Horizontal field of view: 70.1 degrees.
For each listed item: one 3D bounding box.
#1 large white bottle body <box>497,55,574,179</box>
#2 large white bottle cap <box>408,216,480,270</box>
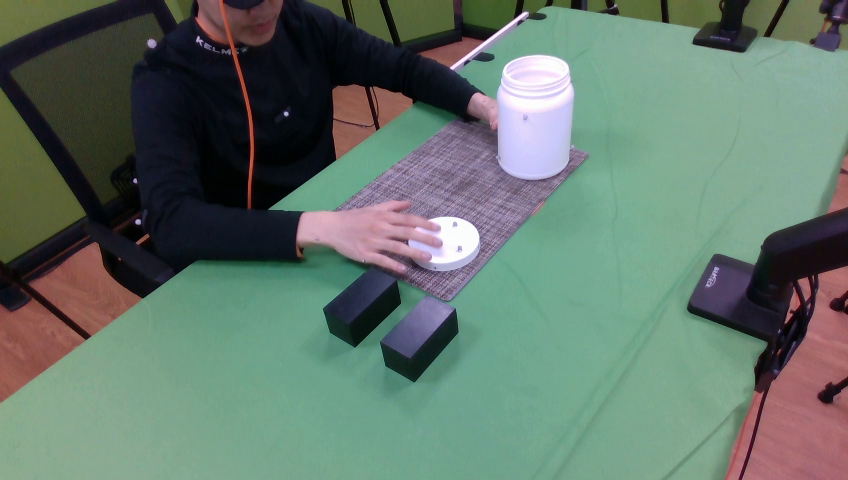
[{"bbox_3d":[0.194,-0.215,1.060,0.130,0.185,0.130,-4,41,4],"label":"large white bottle body"},{"bbox_3d":[0.032,0.003,0.957,0.115,0.018,0.114,-4,41,4],"label":"large white bottle cap"}]
